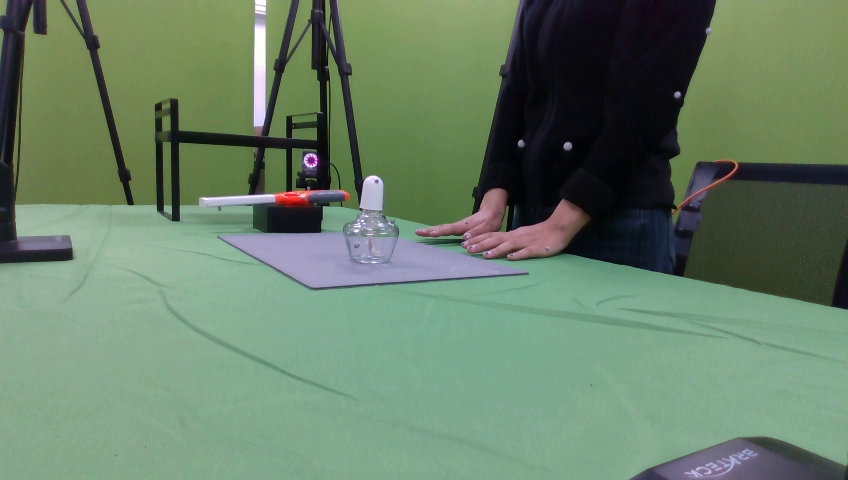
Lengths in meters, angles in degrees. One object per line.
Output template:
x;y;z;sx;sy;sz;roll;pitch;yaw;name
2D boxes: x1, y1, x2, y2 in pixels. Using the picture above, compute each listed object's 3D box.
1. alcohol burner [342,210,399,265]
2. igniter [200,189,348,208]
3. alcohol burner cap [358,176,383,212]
-0.073;-0.027;0.818;0.078;0.119;0.078;1;6;0;alcohol burner
-0.275;-0.079;1.142;0.278;0.025;0.057;-6;11;-32;igniter
-0.070;-0.063;0.814;0.034;0.048;0.034;9;9;-1;alcohol burner cap
